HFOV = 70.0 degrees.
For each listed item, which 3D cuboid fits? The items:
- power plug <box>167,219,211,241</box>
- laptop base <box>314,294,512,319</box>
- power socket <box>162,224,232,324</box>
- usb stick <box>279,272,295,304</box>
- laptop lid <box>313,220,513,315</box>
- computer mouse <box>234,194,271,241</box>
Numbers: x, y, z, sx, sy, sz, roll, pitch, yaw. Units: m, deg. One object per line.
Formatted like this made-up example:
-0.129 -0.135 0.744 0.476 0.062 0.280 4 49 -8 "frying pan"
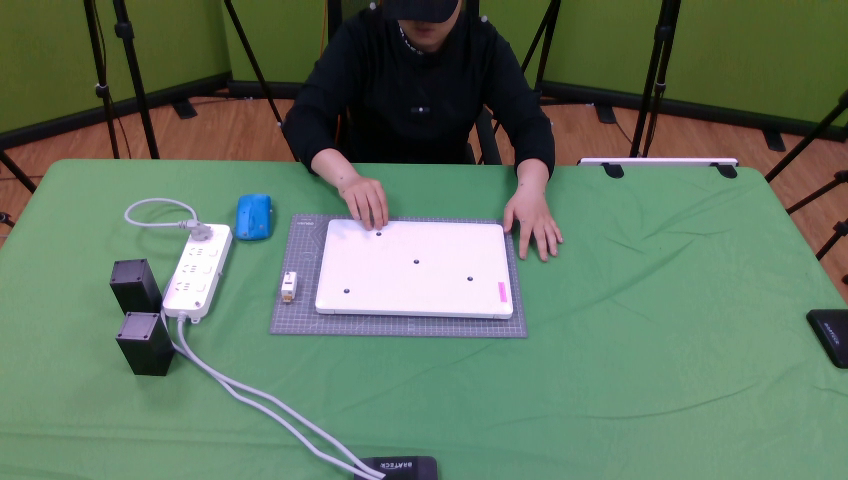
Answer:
-0.438 -0.017 1.143 0.072 0.053 0.035 10 43 7 "power plug"
-0.018 0.055 1.144 0.354 0.023 0.234 2 42 -2 "laptop base"
-0.411 0.052 1.107 0.072 0.033 0.225 3 45 -1 "power socket"
-0.246 0.088 1.085 0.021 0.027 0.059 4 47 -5 "usb stick"
-0.017 0.044 1.137 0.357 0.013 0.240 3 43 -1 "laptop lid"
-0.341 -0.049 1.208 0.063 0.041 0.116 0 50 -7 "computer mouse"
